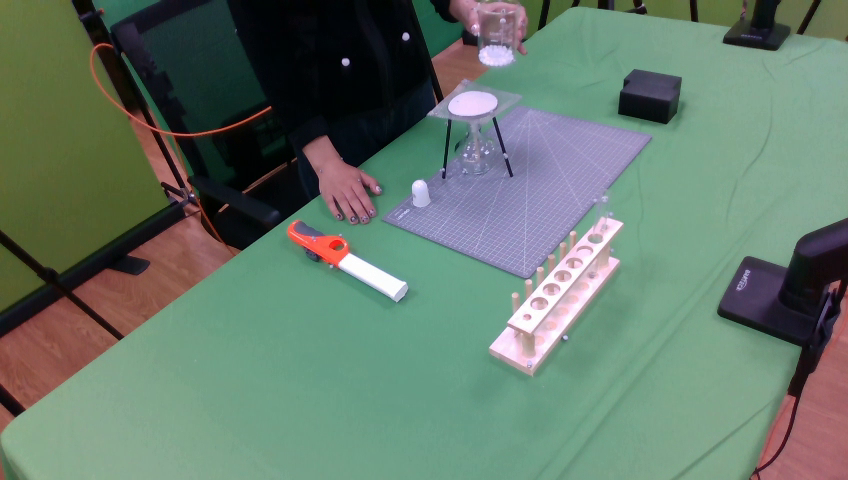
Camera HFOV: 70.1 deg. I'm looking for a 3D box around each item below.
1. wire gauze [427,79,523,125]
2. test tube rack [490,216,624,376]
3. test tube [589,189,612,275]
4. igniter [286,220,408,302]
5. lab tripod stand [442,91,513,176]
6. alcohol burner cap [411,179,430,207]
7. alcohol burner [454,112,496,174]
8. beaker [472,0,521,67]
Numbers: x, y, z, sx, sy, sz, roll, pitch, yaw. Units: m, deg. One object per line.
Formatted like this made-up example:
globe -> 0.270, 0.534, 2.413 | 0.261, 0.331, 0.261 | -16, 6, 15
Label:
wire gauze -> 0.088, -0.239, 1.050 | 0.120, 0.011, 0.125 | 22, 50, 30
test tube rack -> 0.184, 0.064, 0.822 | 0.066, 0.085, 0.243 | 24, 50, 33
test tube -> 0.238, -0.007, 0.818 | 0.017, 0.151, 0.017 | -3, 43, 4
igniter -> -0.134, 0.028, 0.969 | 0.274, 0.025, 0.057 | 26, 61, 35
lab tripod stand -> 0.096, -0.190, 1.096 | 0.148, 0.132, 0.147 | -4, 40, 4
alcohol burner cap -> -0.008, -0.085, 1.063 | 0.034, 0.048, 0.033 | -4, 40, 4
alcohol burner -> 0.092, -0.181, 1.102 | 0.078, 0.119, 0.077 | -5, 42, 5
beaker -> 0.127, -0.364, 1.068 | 0.084, 0.100, 0.073 | 0, 41, 2
